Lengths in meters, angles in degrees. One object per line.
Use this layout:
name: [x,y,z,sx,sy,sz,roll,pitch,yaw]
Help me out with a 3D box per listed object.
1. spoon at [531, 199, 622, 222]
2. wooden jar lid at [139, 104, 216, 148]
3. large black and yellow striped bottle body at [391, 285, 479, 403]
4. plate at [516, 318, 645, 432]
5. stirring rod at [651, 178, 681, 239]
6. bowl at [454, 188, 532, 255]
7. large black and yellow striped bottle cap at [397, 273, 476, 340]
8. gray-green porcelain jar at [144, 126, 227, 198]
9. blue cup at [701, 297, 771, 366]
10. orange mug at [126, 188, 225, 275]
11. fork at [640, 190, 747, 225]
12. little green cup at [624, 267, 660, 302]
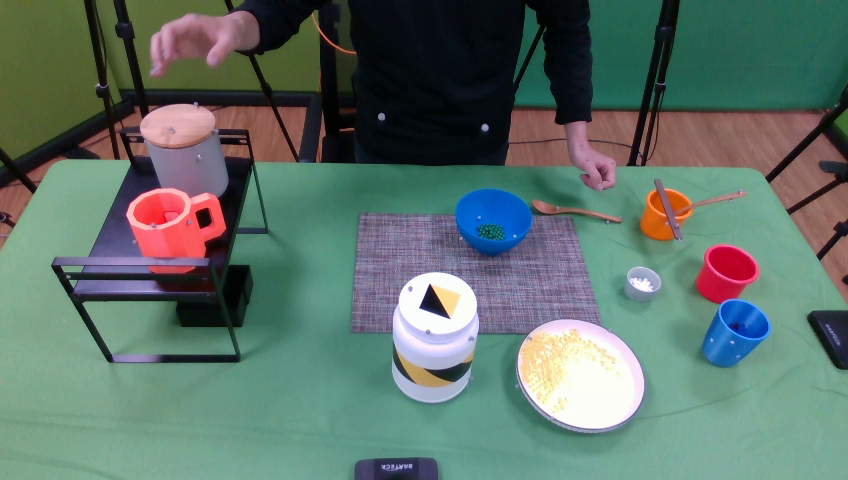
spoon: [0.321,-0.060,1.279,0.194,0.022,0.041,8,33,4]
wooden jar lid: [-0.372,-0.169,0.920,0.108,0.021,0.107,4,44,-4]
large black and yellow striped bottle body: [0.015,0.153,0.938,0.131,0.185,0.130,2,46,-2]
plate: [0.253,0.221,0.992,0.209,0.038,0.208,2,46,-2]
stirring rod: [0.480,-0.065,1.204,0.014,0.006,0.175,2,46,-2]
bowl: [0.131,-0.025,1.187,0.151,0.077,0.150,3,46,-2]
large black and yellow striped bottle cap: [0.018,0.094,0.878,0.115,0.019,0.114,3,46,-3]
gray-green porcelain jar: [-0.375,-0.125,0.967,0.106,0.127,0.105,2,46,-2]
blue cup: [0.519,0.162,1.025,0.093,0.101,0.092,3,45,-3]
orange mug: [-0.357,-0.020,0.885,0.126,0.101,0.083,-29,54,-23]
fork: [0.533,-0.065,1.211,0.207,0.019,0.028,-22,28,39]
little green cup: [0.406,0.084,1.135,0.061,0.039,0.061,3,45,-3]
